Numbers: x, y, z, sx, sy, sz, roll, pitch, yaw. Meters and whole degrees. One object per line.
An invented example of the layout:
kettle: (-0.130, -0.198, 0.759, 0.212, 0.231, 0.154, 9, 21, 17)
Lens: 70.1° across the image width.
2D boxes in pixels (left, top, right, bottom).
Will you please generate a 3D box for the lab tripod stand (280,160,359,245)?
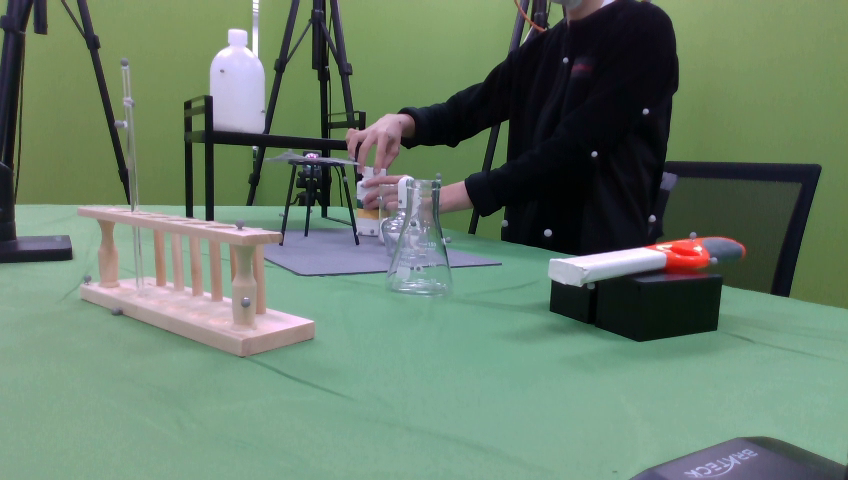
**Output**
lab tripod stand: (-0.176, -0.062, 0.973, 0.148, 0.131, 0.148, 1, 7, 0)

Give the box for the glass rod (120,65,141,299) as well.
glass rod: (-0.249, -0.047, 0.513, 0.008, 0.199, 0.008, -1, 4, 0)

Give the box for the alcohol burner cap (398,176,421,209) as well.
alcohol burner cap: (-0.023, -0.068, 0.866, 0.034, 0.048, 0.034, -5, 8, 1)

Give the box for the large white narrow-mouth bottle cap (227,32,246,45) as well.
large white narrow-mouth bottle cap: (-0.361, -0.387, 1.166, 0.038, 0.024, 0.037, 1, 7, 0)

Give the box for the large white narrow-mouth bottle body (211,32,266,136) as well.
large white narrow-mouth bottle body: (-0.361, -0.302, 1.176, 0.102, 0.194, 0.102, 1, 7, 0)

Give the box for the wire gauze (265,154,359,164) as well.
wire gauze: (-0.181, -0.129, 0.969, 0.126, 0.011, 0.121, -1, 7, -27)

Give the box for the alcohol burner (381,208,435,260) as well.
alcohol burner: (-0.023, -0.032, 0.872, 0.078, 0.119, 0.078, 0, 6, 0)

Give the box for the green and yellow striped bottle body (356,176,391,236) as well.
green and yellow striped bottle body: (-0.093, -0.069, 1.112, 0.063, 0.119, 0.063, 3, 7, 0)

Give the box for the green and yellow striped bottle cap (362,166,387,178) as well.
green and yellow striped bottle cap: (-0.090, -0.124, 1.106, 0.045, 0.020, 0.045, 5, 7, 0)

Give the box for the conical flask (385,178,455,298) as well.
conical flask: (-0.002, -0.004, 0.639, 0.075, 0.122, 0.075, 2, 7, 0)

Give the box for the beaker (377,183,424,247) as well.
beaker: (-0.038, -0.041, 0.995, 0.074, 0.100, 0.083, -5, 12, -44)

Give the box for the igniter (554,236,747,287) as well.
igniter: (0.221, 0.017, 0.558, 0.278, 0.025, 0.057, -5, 14, -39)

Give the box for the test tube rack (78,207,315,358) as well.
test tube rack: (-0.196, 0.023, 0.500, 0.241, 0.085, 0.067, 8, 9, 37)
